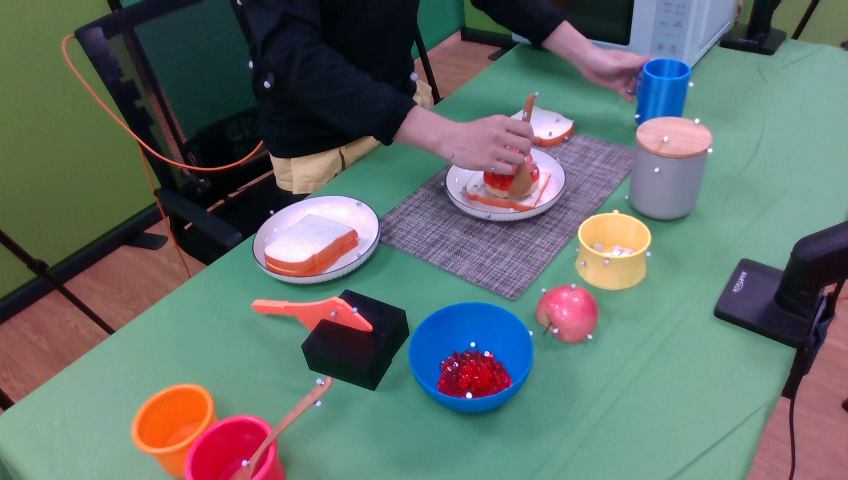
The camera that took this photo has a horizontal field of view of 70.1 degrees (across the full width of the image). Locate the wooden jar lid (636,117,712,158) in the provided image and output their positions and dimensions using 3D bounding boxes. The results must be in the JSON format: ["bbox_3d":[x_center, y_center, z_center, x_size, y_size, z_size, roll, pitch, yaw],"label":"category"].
[{"bbox_3d":[0.377,-0.151,0.917,0.108,0.021,0.108,-2,41,3],"label":"wooden jar lid"}]

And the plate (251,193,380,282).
[{"bbox_3d":[-0.174,-0.001,0.984,0.209,0.038,0.208,-4,40,4],"label":"plate"}]

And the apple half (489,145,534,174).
[{"bbox_3d":[0.145,-0.139,0.994,0.081,0.033,0.081,-1,35,1],"label":"apple half"}]

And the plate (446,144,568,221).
[{"bbox_3d":[0.142,-0.096,1.045,0.207,0.039,0.206,-4,40,4],"label":"plate"}]

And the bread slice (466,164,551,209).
[{"bbox_3d":[0.141,-0.095,1.040,0.133,0.018,0.107,7,43,21],"label":"bread slice"}]

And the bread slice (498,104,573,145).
[{"bbox_3d":[0.231,-0.231,1.205,0.105,0.019,0.130,-36,47,-29],"label":"bread slice"}]

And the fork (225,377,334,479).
[{"bbox_3d":[-0.163,0.216,0.646,0.207,0.019,0.028,-49,42,16],"label":"fork"}]

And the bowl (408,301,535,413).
[{"bbox_3d":[0.060,0.156,0.739,0.151,0.077,0.150,-4,40,4],"label":"bowl"}]

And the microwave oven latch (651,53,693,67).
[{"bbox_3d":[0.532,-0.386,1.301,0.078,0.029,0.030,27,52,34],"label":"microwave oven latch"}]

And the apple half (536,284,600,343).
[{"bbox_3d":[0.196,0.091,0.815,0.075,0.053,0.080,-22,42,-20],"label":"apple half"}]

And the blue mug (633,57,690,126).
[{"bbox_3d":[0.427,-0.277,1.118,0.082,0.106,0.115,-19,43,-13],"label":"blue mug"}]

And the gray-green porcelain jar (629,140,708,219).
[{"bbox_3d":[0.383,-0.105,0.958,0.106,0.127,0.105,-4,41,4],"label":"gray-green porcelain jar"}]

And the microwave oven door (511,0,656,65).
[{"bbox_3d":[0.350,-0.539,1.349,0.353,0.245,0.039,24,50,31],"label":"microwave oven door"}]

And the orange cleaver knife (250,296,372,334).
[{"bbox_3d":[-0.158,0.103,0.828,0.210,0.078,0.012,-4,43,39],"label":"orange cleaver knife"}]

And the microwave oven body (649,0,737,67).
[{"bbox_3d":[0.475,-0.602,1.411,0.438,0.261,0.327,23,50,32],"label":"microwave oven body"}]

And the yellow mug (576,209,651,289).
[{"bbox_3d":[0.279,0.004,0.893,0.099,0.064,0.130,6,42,14],"label":"yellow mug"}]

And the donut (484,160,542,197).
[{"bbox_3d":[0.149,-0.109,1.016,0.099,0.048,0.098,-4,40,4],"label":"donut"}]

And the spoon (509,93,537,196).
[{"bbox_3d":[0.149,-0.136,0.897,0.042,0.194,0.021,-15,46,-10],"label":"spoon"}]
